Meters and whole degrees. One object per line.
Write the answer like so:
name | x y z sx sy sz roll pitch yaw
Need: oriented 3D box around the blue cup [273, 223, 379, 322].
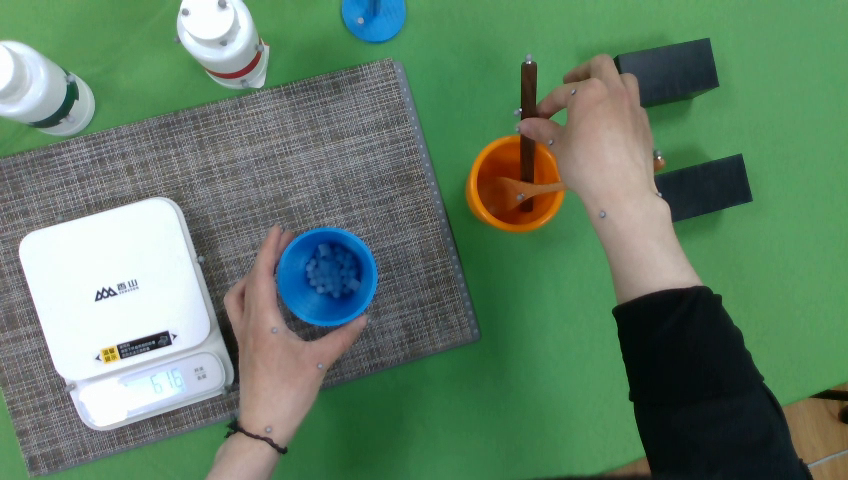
blue cup | -0.087 0.028 0.562 0.093 0.100 0.092 0 90 -8

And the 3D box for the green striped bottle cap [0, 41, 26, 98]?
green striped bottle cap | -0.337 -0.134 0.471 0.044 0.020 0.044 0 90 -5

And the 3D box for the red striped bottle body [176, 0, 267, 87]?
red striped bottle body | -0.181 -0.183 0.545 0.063 0.119 0.063 0 89 -7

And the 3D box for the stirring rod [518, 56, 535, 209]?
stirring rod | 0.095 -0.091 0.563 0.014 0.178 0.006 5 50 13

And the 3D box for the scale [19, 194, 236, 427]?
scale | -0.278 0.068 0.576 0.149 0.031 0.201 -17 93 -6

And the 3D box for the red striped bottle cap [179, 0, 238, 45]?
red striped bottle cap | -0.175 -0.183 0.492 0.044 0.017 0.044 0 87 -5

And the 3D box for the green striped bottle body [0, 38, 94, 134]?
green striped bottle body | -0.343 -0.133 0.526 0.063 0.119 0.063 0 90 -7

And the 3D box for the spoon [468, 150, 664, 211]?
spoon | 0.125 -0.056 0.568 0.021 0.193 0.042 -36 112 -47

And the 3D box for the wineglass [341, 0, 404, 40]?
wineglass | -0.044 -0.238 0.534 0.074 0.172 0.073 0 90 -6
